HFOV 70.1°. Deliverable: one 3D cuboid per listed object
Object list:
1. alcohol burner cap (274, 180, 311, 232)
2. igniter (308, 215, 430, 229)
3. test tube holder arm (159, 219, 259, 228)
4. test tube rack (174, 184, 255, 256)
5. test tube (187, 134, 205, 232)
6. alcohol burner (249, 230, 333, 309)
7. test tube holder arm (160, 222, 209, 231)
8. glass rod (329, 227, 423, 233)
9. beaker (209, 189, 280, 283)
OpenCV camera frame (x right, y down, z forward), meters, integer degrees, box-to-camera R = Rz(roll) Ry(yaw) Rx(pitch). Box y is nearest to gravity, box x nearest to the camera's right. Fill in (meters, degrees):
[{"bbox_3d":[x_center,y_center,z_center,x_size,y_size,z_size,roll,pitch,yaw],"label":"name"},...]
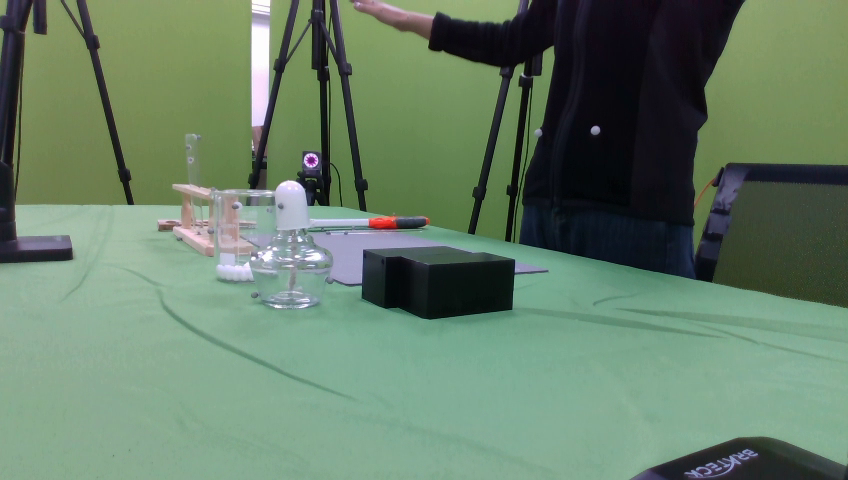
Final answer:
[{"bbox_3d":[-0.125,-0.032,0.563,0.034,0.048,0.034,-5,6,1],"label":"alcohol burner cap"},{"bbox_3d":[-0.108,-0.037,1.228,0.278,0.025,0.057,-3,-1,-35],"label":"igniter"},{"bbox_3d":[-0.390,-0.030,1.107,0.179,0.015,0.013,-3,44,-38],"label":"test tube holder arm"},{"bbox_3d":[-0.327,-0.036,0.928,0.067,0.085,0.241,-2,9,-32],"label":"test tube rack"},{"bbox_3d":[-0.350,-0.087,0.928,0.017,0.150,0.017,-3,5,1],"label":"test tube"},{"bbox_3d":[-0.125,0.004,0.568,0.078,0.119,0.078,2,9,0],"label":"alcohol burner"},{"bbox_3d":[-0.422,-0.024,1.075,0.088,0.015,0.010,-3,44,-38],"label":"test tube holder arm"},{"bbox_3d":[-0.087,-0.019,1.148,0.201,0.008,0.008,-3,8,-32],"label":"glass rod"},{"bbox_3d":[-0.200,-0.006,0.677,0.084,0.100,0.074,3,7,8],"label":"beaker"}]
